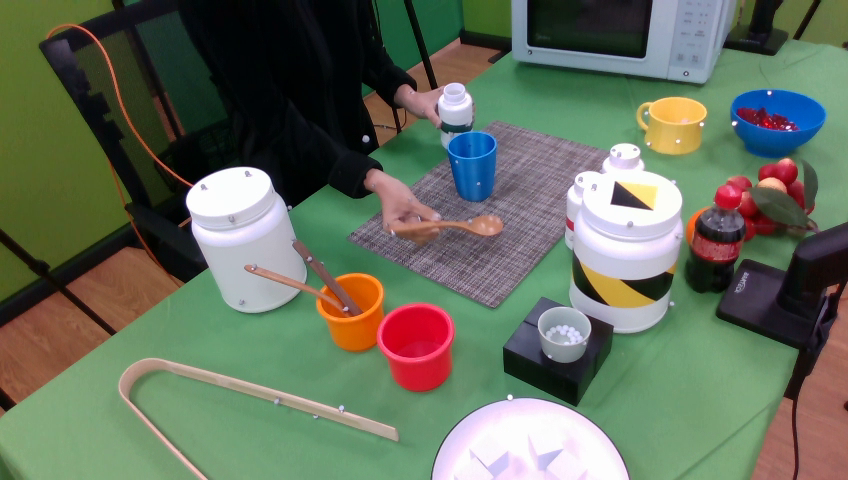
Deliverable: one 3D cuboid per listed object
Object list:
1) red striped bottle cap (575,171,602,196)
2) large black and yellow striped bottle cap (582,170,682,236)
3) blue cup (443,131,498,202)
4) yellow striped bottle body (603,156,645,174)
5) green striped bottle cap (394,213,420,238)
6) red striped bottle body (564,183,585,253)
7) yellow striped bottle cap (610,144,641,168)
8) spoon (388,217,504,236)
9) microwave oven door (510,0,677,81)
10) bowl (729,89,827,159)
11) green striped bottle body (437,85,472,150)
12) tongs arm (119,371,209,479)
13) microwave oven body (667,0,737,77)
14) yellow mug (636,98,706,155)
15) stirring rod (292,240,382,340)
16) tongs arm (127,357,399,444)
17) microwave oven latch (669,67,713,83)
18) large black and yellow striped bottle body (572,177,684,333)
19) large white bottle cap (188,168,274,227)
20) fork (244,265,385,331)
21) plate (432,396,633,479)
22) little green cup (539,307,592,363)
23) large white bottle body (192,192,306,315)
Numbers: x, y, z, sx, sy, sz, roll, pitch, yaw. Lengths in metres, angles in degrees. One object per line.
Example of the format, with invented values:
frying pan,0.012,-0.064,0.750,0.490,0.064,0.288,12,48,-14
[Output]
red striped bottle cap,0.242,-0.081,0.876,0.044,0.018,0.044,-5,43,5
large black and yellow striped bottle cap,0.252,-0.048,0.735,0.115,0.019,0.114,-3,40,3
blue cup,0.087,-0.122,1.040,0.092,0.100,0.092,-5,41,5
yellow striped bottle body,0.313,-0.089,0.955,0.063,0.121,0.062,-5,39,4
green striped bottle cap,-0.028,-0.025,1.010,0.044,0.020,0.044,-2,44,2
red striped bottle body,0.246,-0.041,0.910,0.063,0.120,0.062,-2,38,2
yellow striped bottle cap,0.307,-0.128,0.923,0.044,0.019,0.044,-6,39,5
spoon,0.035,-0.020,0.905,0.195,0.021,0.041,0,46,-29
microwave oven door,0.354,-0.478,1.290,0.353,0.245,0.039,15,45,25
bowl,0.615,-0.196,1.069,0.151,0.077,0.150,-5,40,5
green striped bottle body,0.057,-0.227,1.120,0.063,0.120,0.063,-3,49,4
tongs arm,-0.258,0.257,0.700,0.384,0.028,0.028,24,55,34
microwave oven body,0.462,-0.552,1.368,0.439,0.261,0.326,15,45,26
yellow mug,0.453,-0.217,1.128,0.100,0.064,0.129,-34,46,-27
stirring rod,-0.119,0.068,0.826,0.176,0.006,0.014,49,58,-4
tongs arm,-0.213,0.205,0.755,0.382,0.026,0.051,12,46,23
microwave oven latch,0.556,-0.349,1.261,0.078,0.029,0.030,16,46,27
large black and yellow striped bottle body,0.262,0.017,0.788,0.131,0.185,0.130,-5,40,4
large white bottle cap,-0.265,-0.061,0.831,0.115,0.018,0.114,-4,40,4
fork,-0.142,0.078,0.806,0.209,0.018,0.028,30,32,-23
plate,0.112,0.261,0.634,0.209,0.038,0.208,-5,40,4
little green cup,0.168,0.115,0.721,0.061,0.039,0.061,-4,42,4
large white bottle body,-0.256,0.004,0.885,0.130,0.185,0.130,-4,40,4
